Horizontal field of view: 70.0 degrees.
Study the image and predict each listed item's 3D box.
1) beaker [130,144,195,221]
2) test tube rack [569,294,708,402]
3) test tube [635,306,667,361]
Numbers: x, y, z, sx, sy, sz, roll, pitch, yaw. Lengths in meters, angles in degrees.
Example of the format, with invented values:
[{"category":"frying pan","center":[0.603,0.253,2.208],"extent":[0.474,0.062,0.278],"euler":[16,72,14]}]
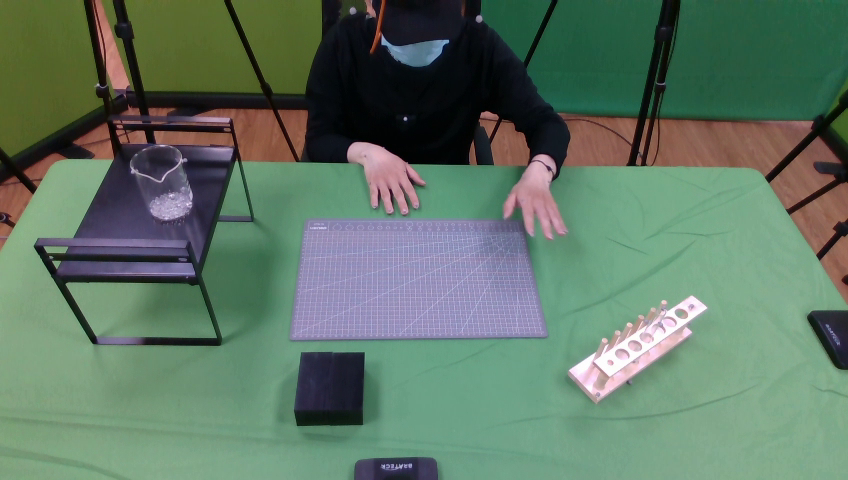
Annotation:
[{"category":"beaker","center":[-0.403,-0.085,0.944],"extent":[0.074,0.101,0.083],"euler":[-15,50,-17]},{"category":"test tube rack","center":[0.360,0.167,1.014],"extent":[0.242,0.085,0.066],"euler":[-25,53,-25]},{"category":"test tube","center":[0.355,0.151,0.961],"extent":[0.017,0.151,0.017],"euler":[0,51,1]}]
